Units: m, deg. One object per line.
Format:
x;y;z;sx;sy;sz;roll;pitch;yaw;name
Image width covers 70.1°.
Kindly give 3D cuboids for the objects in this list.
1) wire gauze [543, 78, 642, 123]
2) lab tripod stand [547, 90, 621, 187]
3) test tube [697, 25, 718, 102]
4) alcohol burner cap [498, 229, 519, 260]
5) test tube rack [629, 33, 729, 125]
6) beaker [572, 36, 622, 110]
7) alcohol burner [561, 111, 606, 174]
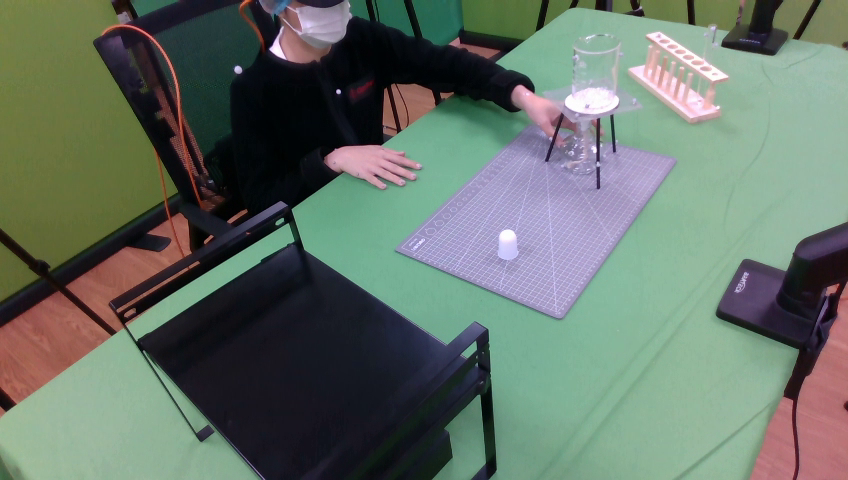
0.282;-0.234;1.022;0.125;0.011;0.120;-17;38;-4;wire gauze
0.289;-0.184;1.062;0.148;0.132;0.147;-6;41;6;lab tripod stand
0.546;-0.337;1.166;0.017;0.151;0.017;-5;36;4;test tube
0.131;0.004;0.938;0.034;0.048;0.033;-4;40;4;alcohol burner cap
0.516;-0.337;1.247;0.067;0.085;0.240;-14;41;-7;test tube rack
0.279;-0.274;0.992;0.074;0.101;0.083;-14;40;-5;beaker
0.283;-0.177;1.071;0.078;0.119;0.077;-5;42;5;alcohol burner
